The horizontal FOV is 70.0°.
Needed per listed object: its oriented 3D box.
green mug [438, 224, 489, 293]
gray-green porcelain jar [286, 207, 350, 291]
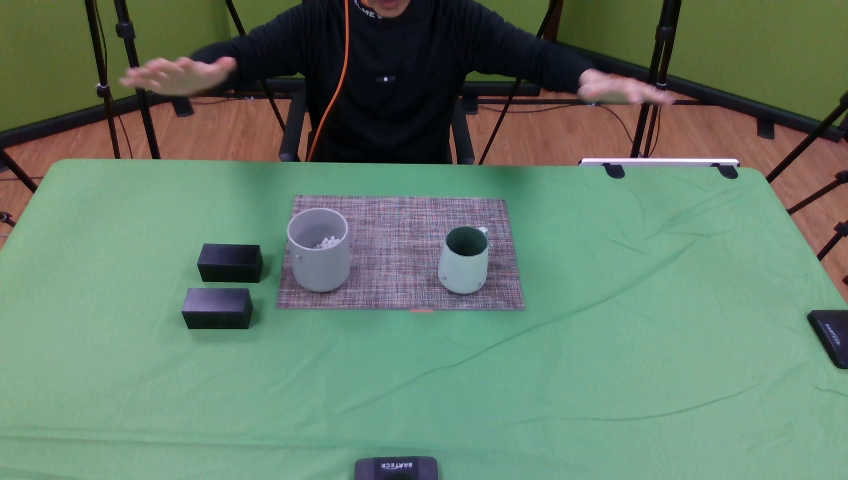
[{"bbox_3d":[0.083,0.025,1.115,0.092,0.105,0.125,27,51,20],"label":"green mug"},{"bbox_3d":[-0.187,0.021,1.084,0.106,0.127,0.105,2,47,-2],"label":"gray-green porcelain jar"}]
